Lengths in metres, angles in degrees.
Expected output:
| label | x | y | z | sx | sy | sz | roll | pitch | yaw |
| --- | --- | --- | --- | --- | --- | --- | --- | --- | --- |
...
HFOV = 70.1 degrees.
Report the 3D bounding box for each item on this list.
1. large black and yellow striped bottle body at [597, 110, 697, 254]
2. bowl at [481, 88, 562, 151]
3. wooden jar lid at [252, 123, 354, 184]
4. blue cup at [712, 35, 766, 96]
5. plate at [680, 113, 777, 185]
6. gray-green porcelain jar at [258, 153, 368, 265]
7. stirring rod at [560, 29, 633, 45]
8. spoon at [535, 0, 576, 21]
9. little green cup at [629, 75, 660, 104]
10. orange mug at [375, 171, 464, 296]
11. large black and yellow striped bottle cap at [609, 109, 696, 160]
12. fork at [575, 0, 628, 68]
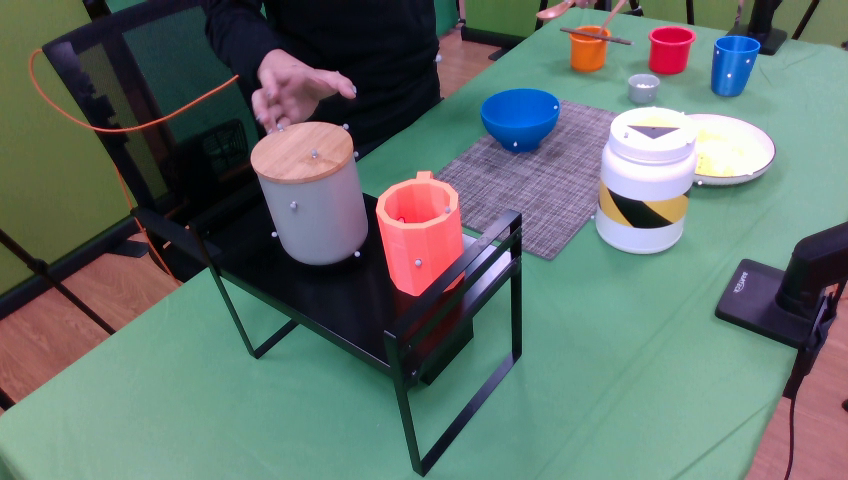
| label | x | y | z | sx | sy | sz | roll | pitch | yaw |
| --- | --- | --- | --- | --- | --- | --- | --- | --- | --- |
| large black and yellow striped bottle body | 0.331 | -0.086 | 0.904 | 0.131 | 0.185 | 0.130 | -5 | 41 | 4 |
| bowl | 0.187 | -0.223 | 1.161 | 0.151 | 0.077 | 0.150 | -4 | 40 | 4 |
| wooden jar lid | -0.129 | -0.090 | 0.652 | 0.108 | 0.021 | 0.108 | -3 | 41 | 3 |
| blue cup | 0.627 | -0.350 | 1.227 | 0.092 | 0.100 | 0.092 | -4 | 39 | 4 |
| plate | 0.506 | -0.158 | 1.073 | 0.209 | 0.038 | 0.208 | -4 | 40 | 4 |
| gray-green porcelain jar | -0.122 | -0.043 | 0.691 | 0.106 | 0.127 | 0.105 | -4 | 40 | 4 |
| stirring rod | 0.381 | -0.452 | 1.345 | 0.174 | 0.006 | 0.014 | 25 | 49 | 33 |
| spoon | 0.285 | -0.437 | 1.065 | 0.193 | 0.022 | 0.041 | -31 | 34 | 8 |
| little green cup | 0.457 | -0.314 | 1.260 | 0.061 | 0.039 | 0.061 | -4 | 40 | 4 |
| orange mug | -0.001 | -0.016 | 0.662 | 0.083 | 0.101 | 0.125 | -2 | 45 | 8 |
| large black and yellow striped bottle cap | 0.319 | -0.150 | 0.849 | 0.115 | 0.019 | 0.114 | -4 | 39 | 3 |
| fork | 0.413 | -0.481 | 1.377 | 0.207 | 0.019 | 0.028 | -57 | 43 | 12 |
